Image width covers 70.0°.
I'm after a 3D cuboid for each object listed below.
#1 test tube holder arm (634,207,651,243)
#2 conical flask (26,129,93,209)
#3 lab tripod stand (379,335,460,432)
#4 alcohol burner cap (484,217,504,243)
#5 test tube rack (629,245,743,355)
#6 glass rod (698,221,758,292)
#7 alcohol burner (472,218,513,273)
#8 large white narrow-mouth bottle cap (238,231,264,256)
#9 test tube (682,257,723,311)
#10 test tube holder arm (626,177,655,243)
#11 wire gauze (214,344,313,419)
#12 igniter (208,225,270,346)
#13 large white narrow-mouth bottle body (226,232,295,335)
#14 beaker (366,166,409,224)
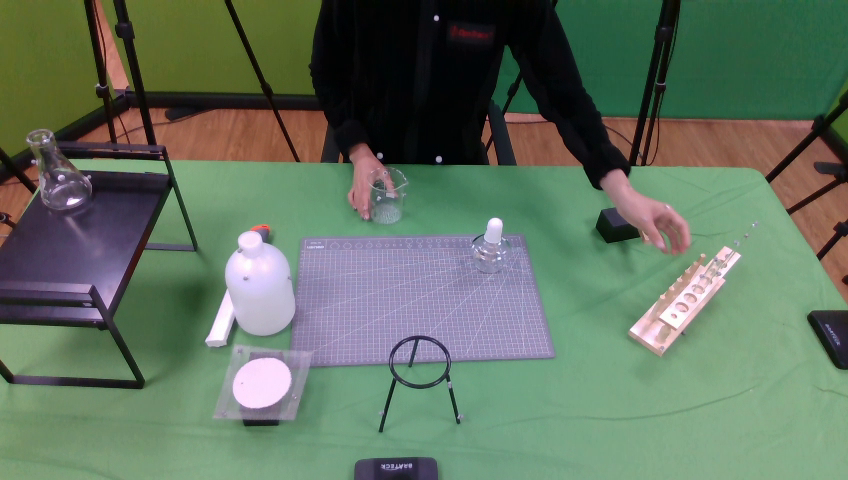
[{"bbox_3d":[0.428,-0.030,1.189,0.010,0.015,0.087,4,47,-3],"label":"test tube holder arm"},{"bbox_3d":[-0.575,-0.113,0.946,0.075,0.122,0.075,2,46,-2],"label":"conical flask"},{"bbox_3d":[-0.011,0.214,0.911,0.148,0.132,0.147,1,45,0],"label":"lab tripod stand"},{"bbox_3d":[0.129,-0.021,1.107,0.034,0.048,0.033,4,41,-3],"label":"alcohol burner cap"},{"bbox_3d":[0.474,0.095,1.091,0.242,0.085,0.066,-34,56,-31],"label":"test tube rack"},{"bbox_3d":[0.528,0.035,1.060,0.008,0.200,0.008,5,49,-6],"label":"glass rod"},{"bbox_3d":[0.128,0.005,1.132,0.078,0.120,0.077,0,47,0],"label":"alcohol burner"},{"bbox_3d":[-0.266,0.006,0.932,0.038,0.024,0.037,2,46,-2],"label":"large white narrow-mouth bottle cap"},{"bbox_3d":[0.475,0.080,1.037,0.017,0.151,0.017,1,50,-1],"label":"test tube"},{"bbox_3d":[0.434,-0.063,1.220,0.013,0.015,0.177,3,47,-3],"label":"test tube holder arm"},{"bbox_3d":[-0.241,0.213,0.915,0.121,0.011,0.124,5,46,1],"label":"wire gauze"},{"bbox_3d":[-0.331,0.072,1.099,0.057,0.025,0.275,-4,45,10],"label":"igniter"},{"bbox_3d":[-0.270,0.065,0.995,0.102,0.195,0.101,2,46,-2],"label":"large white narrow-mouth bottle body"},{"bbox_3d":[-0.074,-0.088,1.222,0.084,0.101,0.073,4,46,-1],"label":"beaker"}]
